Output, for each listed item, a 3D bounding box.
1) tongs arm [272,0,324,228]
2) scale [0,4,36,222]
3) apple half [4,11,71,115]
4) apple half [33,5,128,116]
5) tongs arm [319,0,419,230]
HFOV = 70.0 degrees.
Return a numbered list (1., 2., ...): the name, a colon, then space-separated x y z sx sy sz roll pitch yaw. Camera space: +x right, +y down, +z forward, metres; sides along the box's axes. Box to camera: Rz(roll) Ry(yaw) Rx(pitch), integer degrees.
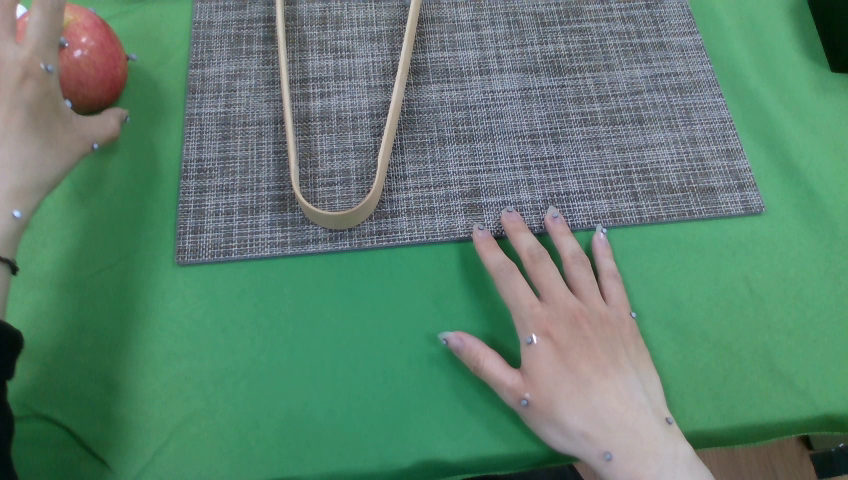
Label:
1. tongs arm: -0.116 -0.185 0.522 0.028 0.028 0.384 -6 66 -9
2. scale: -0.386 -0.098 0.478 0.149 0.032 0.199 -10 66 -6
3. apple half: -0.302 -0.131 0.472 0.033 0.082 0.080 -13 66 -10
4. apple half: -0.265 -0.141 0.479 0.053 0.075 0.080 -14 62 -10
5. tongs arm: -0.032 -0.184 0.523 0.051 0.027 0.382 6 66 0
